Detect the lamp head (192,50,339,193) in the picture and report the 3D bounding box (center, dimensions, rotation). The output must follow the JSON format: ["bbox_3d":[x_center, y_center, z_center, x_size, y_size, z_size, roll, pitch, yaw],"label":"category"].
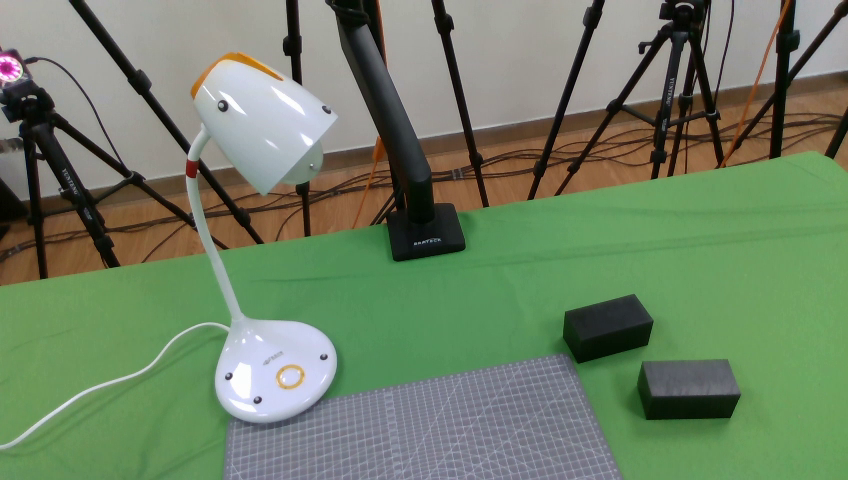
[{"bbox_3d":[-0.166,-0.121,0.596,0.123,0.112,0.112,38,46,-12],"label":"lamp head"}]

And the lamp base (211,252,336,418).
[{"bbox_3d":[-0.214,0.107,0.771,0.177,0.182,0.160,22,48,32],"label":"lamp base"}]
